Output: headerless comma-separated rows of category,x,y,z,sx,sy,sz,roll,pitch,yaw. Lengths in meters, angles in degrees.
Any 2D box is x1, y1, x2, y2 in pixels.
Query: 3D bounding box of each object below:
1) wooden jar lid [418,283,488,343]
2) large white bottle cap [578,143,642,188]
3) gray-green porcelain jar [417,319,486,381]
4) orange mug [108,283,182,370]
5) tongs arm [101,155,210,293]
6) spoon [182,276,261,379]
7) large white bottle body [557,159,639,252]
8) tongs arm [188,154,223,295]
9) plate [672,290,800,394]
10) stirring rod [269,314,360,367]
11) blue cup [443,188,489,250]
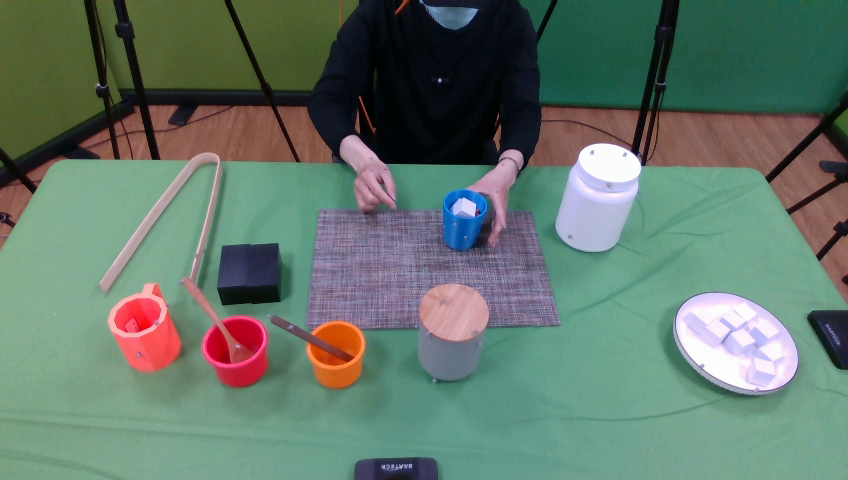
wooden jar lid,0.044,0.114,0.931,0.108,0.021,0.107,2,49,-2
large white bottle cap,0.344,-0.139,1.123,0.115,0.018,0.114,2,46,-2
gray-green porcelain jar,0.042,0.158,0.975,0.106,0.127,0.105,2,46,-2
orange mug,-0.445,0.133,0.983,0.083,0.101,0.125,-1,50,-5
tongs arm,-0.526,-0.046,1.202,0.028,0.028,0.385,4,45,12
spoon,-0.321,0.137,0.957,0.041,0.021,0.194,-36,102,-32
large white bottle body,0.340,-0.081,1.184,0.131,0.185,0.130,2,46,-1
tongs arm,-0.443,-0.044,1.200,0.051,0.027,0.382,-3,45,0
plate,0.533,0.178,1.050,0.208,0.039,0.206,2,46,-2
stirring rod,-0.168,0.160,0.950,0.177,0.006,0.014,35,41,-30
blue cup,0.076,-0.035,1.182,0.093,0.100,0.092,4,45,-4
